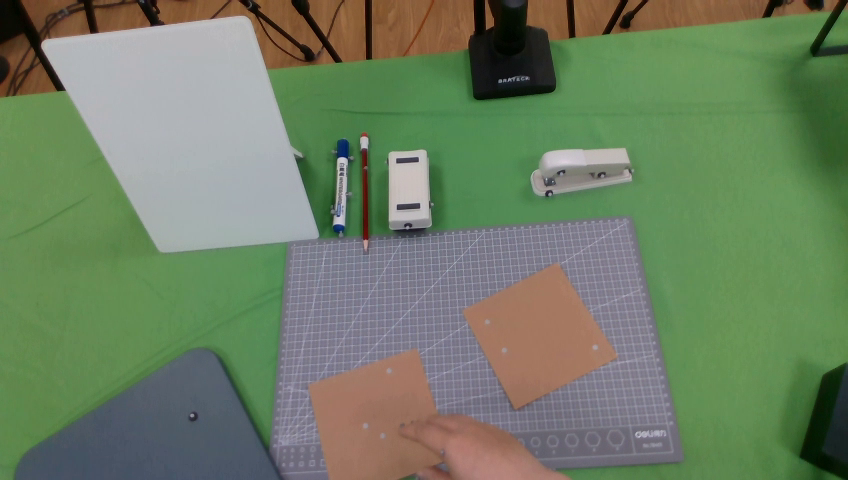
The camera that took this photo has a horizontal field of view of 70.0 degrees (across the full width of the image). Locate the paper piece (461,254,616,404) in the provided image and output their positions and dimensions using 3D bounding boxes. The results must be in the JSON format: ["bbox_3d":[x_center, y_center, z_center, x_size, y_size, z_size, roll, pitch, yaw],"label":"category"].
[{"bbox_3d":[0.132,0.102,0.716,0.136,0.009,0.137,-26,66,-3],"label":"paper piece"}]

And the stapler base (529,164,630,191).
[{"bbox_3d":[0.206,-0.096,0.800,0.130,0.024,0.041,-9,66,-1],"label":"stapler base"}]

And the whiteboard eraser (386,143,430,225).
[{"bbox_3d":[-0.022,-0.073,0.801,0.055,0.042,0.111,-5,64,4],"label":"whiteboard eraser"}]

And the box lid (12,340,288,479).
[{"bbox_3d":[-0.274,0.310,0.651,0.263,0.015,0.368,-32,66,-10],"label":"box lid"}]

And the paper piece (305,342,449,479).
[{"bbox_3d":[-0.056,0.196,0.686,0.135,0.004,0.134,-18,64,-4],"label":"paper piece"}]

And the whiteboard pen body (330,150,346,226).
[{"bbox_3d":[-0.117,-0.082,0.827,0.017,0.017,0.139,-3,63,4],"label":"whiteboard pen body"}]

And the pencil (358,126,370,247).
[{"bbox_3d":[-0.081,-0.076,0.824,0.012,0.012,0.192,-6,63,2],"label":"pencil"}]

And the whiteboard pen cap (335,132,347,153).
[{"bbox_3d":[-0.117,-0.134,0.852,0.018,0.018,0.033,-5,62,3],"label":"whiteboard pen cap"}]

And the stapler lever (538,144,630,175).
[{"bbox_3d":[0.206,-0.107,0.779,0.118,0.040,0.026,-9,65,0],"label":"stapler lever"}]

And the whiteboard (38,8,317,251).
[{"bbox_3d":[-0.263,-0.152,0.748,0.217,0.308,0.142,-4,44,4],"label":"whiteboard"}]
